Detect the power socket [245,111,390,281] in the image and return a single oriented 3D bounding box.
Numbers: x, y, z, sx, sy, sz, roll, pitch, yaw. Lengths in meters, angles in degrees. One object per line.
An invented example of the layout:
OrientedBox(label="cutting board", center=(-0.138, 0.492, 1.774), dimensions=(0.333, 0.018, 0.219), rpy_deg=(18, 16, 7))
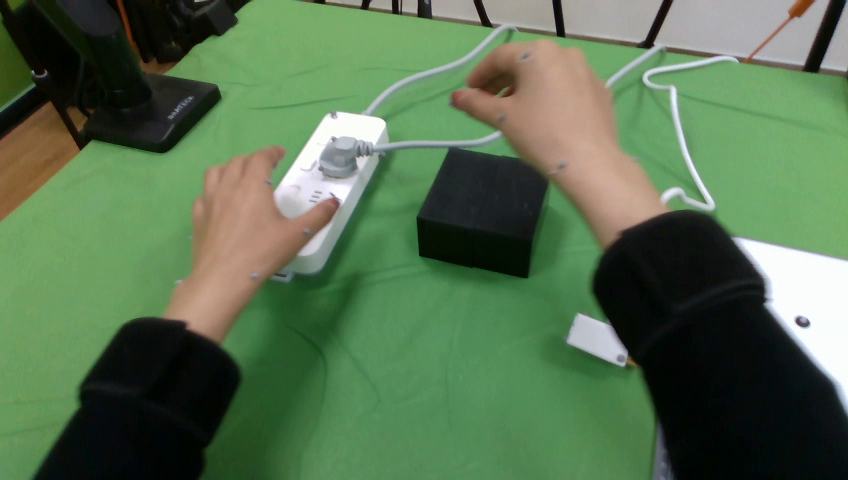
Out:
OrientedBox(label="power socket", center=(-0.098, -0.054, 0.596), dimensions=(0.072, 0.033, 0.225), rpy_deg=(12, 48, 12))

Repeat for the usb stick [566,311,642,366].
OrientedBox(label="usb stick", center=(0.141, 0.077, 0.465), dimensions=(0.059, 0.021, 0.027), rpy_deg=(25, 89, 10))

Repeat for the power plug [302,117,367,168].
OrientedBox(label="power plug", center=(-0.084, -0.099, 0.569), dimensions=(0.053, 0.073, 0.035), rpy_deg=(23, 34, -8))

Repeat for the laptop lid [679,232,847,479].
OrientedBox(label="laptop lid", center=(0.368, 0.114, 0.415), dimensions=(0.355, 0.013, 0.240), rpy_deg=(15, 52, 16))

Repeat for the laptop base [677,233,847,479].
OrientedBox(label="laptop base", center=(0.369, 0.121, 0.425), dimensions=(0.353, 0.023, 0.234), rpy_deg=(14, 53, 15))
